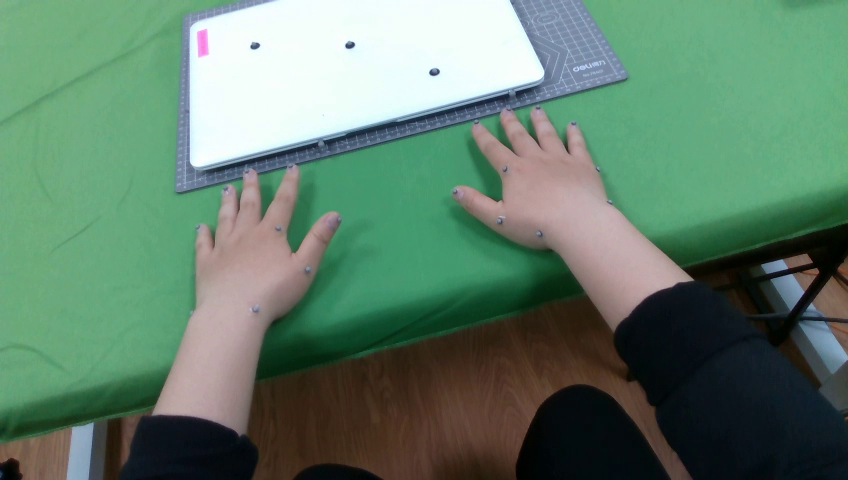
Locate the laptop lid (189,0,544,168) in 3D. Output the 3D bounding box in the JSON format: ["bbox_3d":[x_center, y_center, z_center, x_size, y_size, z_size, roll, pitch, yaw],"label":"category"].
[{"bbox_3d":[-0.076,-0.204,0.639,0.357,0.013,0.239,-13,57,0],"label":"laptop lid"}]

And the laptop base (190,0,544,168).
[{"bbox_3d":[-0.075,-0.200,0.649,0.354,0.023,0.233,-15,58,-1],"label":"laptop base"}]
